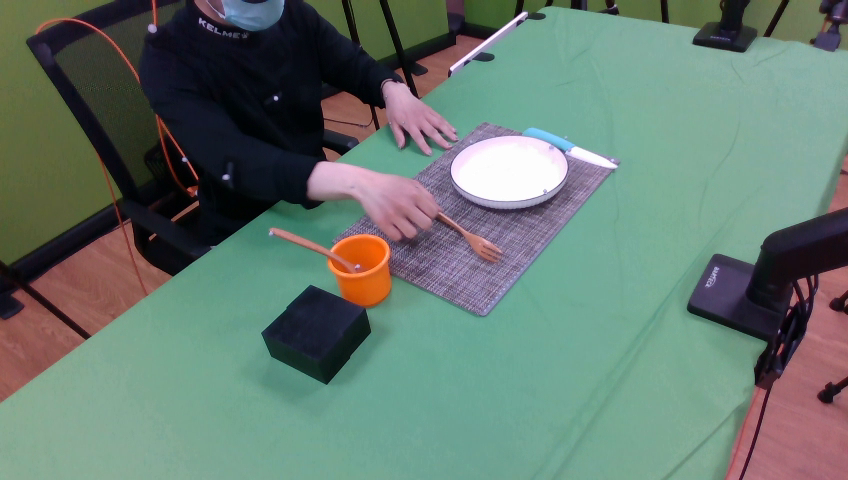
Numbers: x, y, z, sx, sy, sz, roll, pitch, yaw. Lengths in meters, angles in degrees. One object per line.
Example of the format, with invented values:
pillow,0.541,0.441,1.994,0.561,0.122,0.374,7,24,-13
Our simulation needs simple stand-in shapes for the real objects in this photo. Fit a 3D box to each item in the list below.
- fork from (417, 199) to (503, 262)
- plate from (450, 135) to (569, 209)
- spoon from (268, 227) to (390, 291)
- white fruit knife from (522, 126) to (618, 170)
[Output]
fork,0.053,-0.021,0.981,0.019,0.028,0.205,-1,28,-40
plate,0.149,-0.117,1.065,0.209,0.038,0.208,-4,41,4
spoon,-0.132,0.025,0.862,0.021,0.195,0.041,-41,31,32
white fruit knife,0.272,-0.172,1.132,0.205,0.016,0.027,32,82,34
